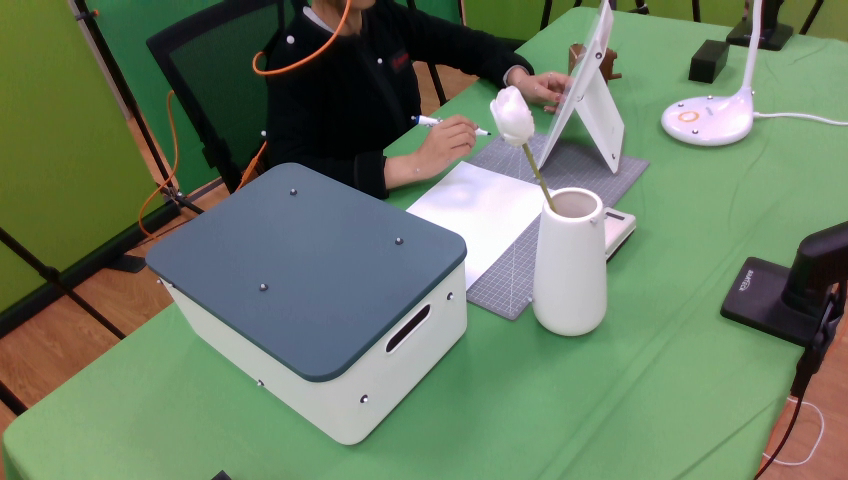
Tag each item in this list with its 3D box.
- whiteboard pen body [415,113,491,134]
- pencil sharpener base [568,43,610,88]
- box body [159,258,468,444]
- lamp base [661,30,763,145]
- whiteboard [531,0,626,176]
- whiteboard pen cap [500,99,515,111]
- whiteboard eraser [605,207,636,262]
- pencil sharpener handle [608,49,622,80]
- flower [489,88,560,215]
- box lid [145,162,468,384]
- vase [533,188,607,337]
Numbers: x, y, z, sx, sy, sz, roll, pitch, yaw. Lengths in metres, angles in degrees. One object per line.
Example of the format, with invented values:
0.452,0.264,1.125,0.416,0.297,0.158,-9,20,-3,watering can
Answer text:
0.053,-0.207,1.086,0.141,0.017,0.017,10,41,-6,whiteboard pen body
0.345,-0.352,1.263,0.077,0.107,0.061,-9,40,1,pencil sharpener base
-0.147,0.072,0.816,0.361,0.161,0.255,24,50,33,box body
0.535,-0.287,1.096,0.179,0.181,0.159,-10,40,-4,lamp base
0.320,-0.258,1.050,0.144,0.306,0.217,22,46,6,whiteboard
0.177,-0.287,1.289,0.033,0.018,0.018,-36,47,-26,whiteboard pen cap
0.272,-0.003,0.920,0.055,0.042,0.113,26,51,33,whiteboard eraser
0.394,-0.368,1.253,0.030,0.068,0.036,-8,32,1,pencil sharpener handle
0.159,-0.027,0.720,0.038,0.364,0.044,-15,44,23,flower
-0.157,0.014,0.770,0.368,0.015,0.264,25,51,33,box lid
0.187,0.033,0.771,0.098,0.201,0.097,-6,41,6,vase
